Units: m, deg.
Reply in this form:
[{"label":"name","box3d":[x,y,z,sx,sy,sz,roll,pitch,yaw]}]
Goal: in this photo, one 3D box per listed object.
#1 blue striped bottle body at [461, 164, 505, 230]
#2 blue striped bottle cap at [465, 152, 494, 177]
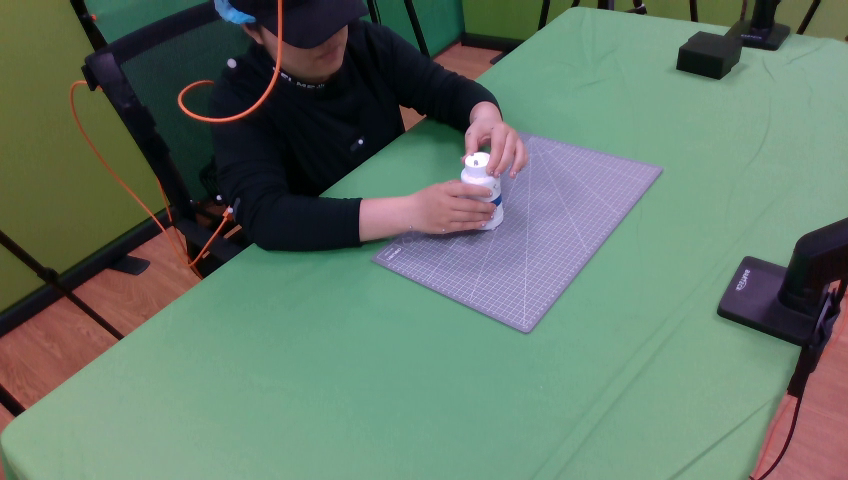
[{"label":"blue striped bottle body","box3d":[0.095,-0.080,0.978,0.063,0.121,0.063,-7,40,6]},{"label":"blue striped bottle cap","box3d":[0.087,-0.119,0.946,0.044,0.021,0.044,-6,42,5]}]
